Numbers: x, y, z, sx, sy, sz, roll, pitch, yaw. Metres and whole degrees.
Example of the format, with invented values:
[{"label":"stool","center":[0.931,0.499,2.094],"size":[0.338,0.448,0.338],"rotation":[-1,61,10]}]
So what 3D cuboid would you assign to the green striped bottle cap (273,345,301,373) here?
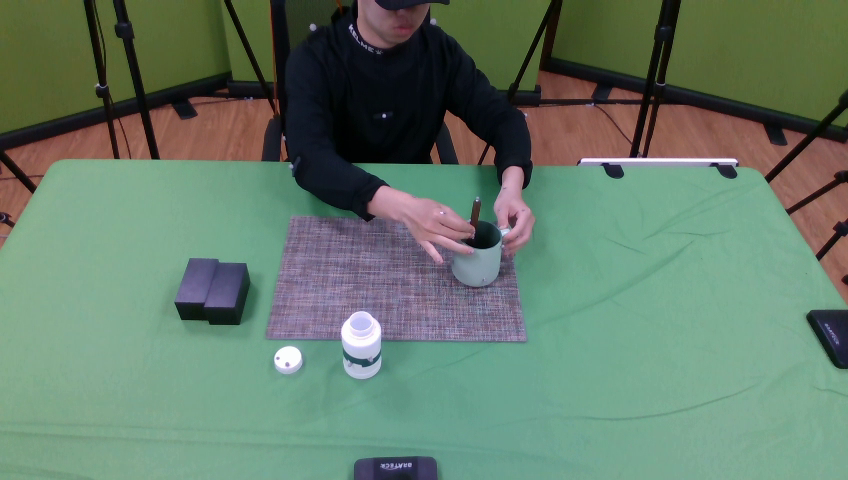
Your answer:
[{"label":"green striped bottle cap","center":[-0.225,0.195,0.997],"size":[0.044,0.020,0.044],"rotation":[2,50,-3]}]

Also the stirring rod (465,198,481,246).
[{"label":"stirring rod","center":[0.084,-0.010,1.090],"size":[0.014,0.177,0.006],"rotation":[0,47,-5]}]

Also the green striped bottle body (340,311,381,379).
[{"label":"green striped bottle body","center":[-0.101,0.164,0.964],"size":[0.063,0.120,0.063],"rotation":[2,46,-2]}]

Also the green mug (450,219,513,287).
[{"label":"green mug","center":[0.111,0.019,1.125],"size":[0.125,0.105,0.092],"rotation":[-22,52,-23]}]
